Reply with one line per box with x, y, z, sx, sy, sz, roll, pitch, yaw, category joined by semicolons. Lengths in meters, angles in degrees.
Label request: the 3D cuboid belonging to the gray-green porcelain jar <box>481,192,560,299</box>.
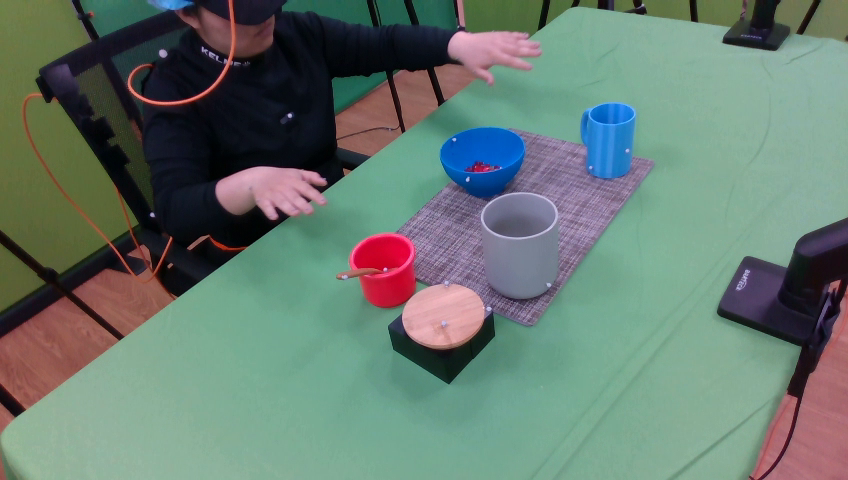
0.138;0.012;0.858;0.106;0.127;0.105;-6;40;5;gray-green porcelain jar

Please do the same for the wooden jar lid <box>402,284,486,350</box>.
0.026;0.101;0.786;0.108;0.021;0.108;-5;39;4;wooden jar lid

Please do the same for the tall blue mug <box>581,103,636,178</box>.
0.313;-0.178;1.062;0.106;0.108;0.078;21;50;31;tall blue mug

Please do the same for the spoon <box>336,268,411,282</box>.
-0.071;0.047;0.850;0.041;0.195;0.021;19;93;23;spoon

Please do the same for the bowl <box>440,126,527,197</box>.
0.107;-0.130;1.070;0.151;0.077;0.150;-5;40;5;bowl
